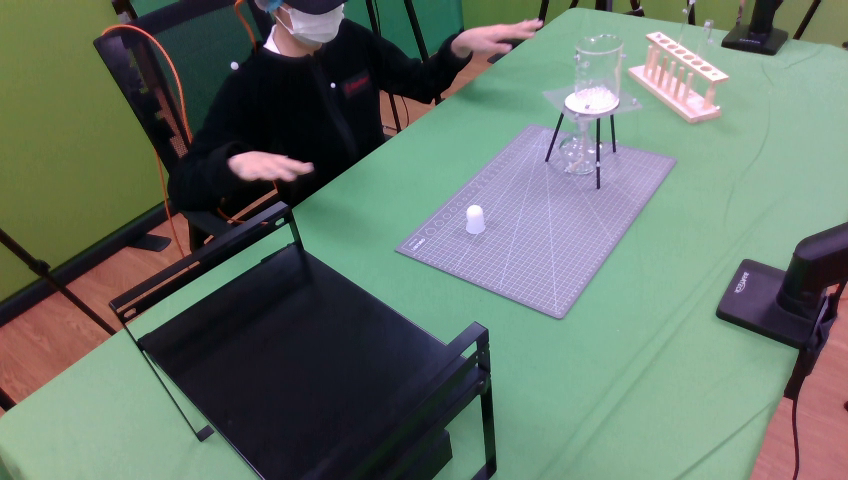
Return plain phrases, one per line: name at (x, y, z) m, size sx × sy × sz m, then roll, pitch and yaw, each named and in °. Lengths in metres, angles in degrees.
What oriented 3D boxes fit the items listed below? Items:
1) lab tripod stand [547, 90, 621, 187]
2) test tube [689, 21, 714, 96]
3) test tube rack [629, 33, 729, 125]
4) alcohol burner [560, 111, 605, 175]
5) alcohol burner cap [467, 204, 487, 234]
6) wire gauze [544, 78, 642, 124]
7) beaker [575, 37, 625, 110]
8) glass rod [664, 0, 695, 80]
lab tripod stand at (0.289, -0.184, 1.062) m, size 0.148 × 0.132 × 0.147 m, roll -6°, pitch 41°, yaw 6°
test tube at (0.541, -0.353, 1.184) m, size 0.017 × 0.151 × 0.017 m, roll -2°, pitch 40°, yaw 2°
test tube rack at (0.516, -0.337, 1.247) m, size 0.067 × 0.085 × 0.240 m, roll -14°, pitch 41°, yaw -7°
alcohol burner at (0.281, -0.176, 1.070) m, size 0.078 × 0.119 × 0.077 m, roll -4°, pitch 43°, yaw 5°
alcohol burner cap at (0.085, -0.037, 0.993) m, size 0.034 × 0.048 × 0.033 m, roll -4°, pitch 41°, yaw 4°
wire gauze at (0.282, -0.234, 1.021) m, size 0.125 × 0.011 × 0.120 m, roll -17°, pitch 38°, yaw -4°
beaker at (0.283, -0.271, 0.988) m, size 0.074 × 0.101 × 0.083 m, roll -10°, pitch 39°, yaw 1°
glass rod at (0.523, -0.415, 1.235) m, size 0.008 × 0.200 × 0.008 m, roll 1°, pitch 47°, yaw 0°
